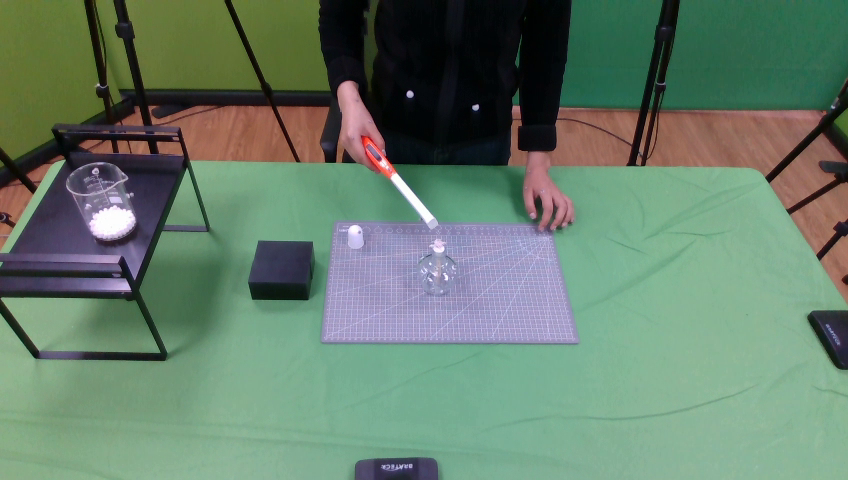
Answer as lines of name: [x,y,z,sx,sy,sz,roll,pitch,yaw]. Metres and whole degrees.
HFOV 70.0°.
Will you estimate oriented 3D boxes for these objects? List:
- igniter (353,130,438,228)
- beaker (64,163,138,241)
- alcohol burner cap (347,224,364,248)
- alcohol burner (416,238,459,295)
igniter: [-0.059,-0.120,1.119,0.025,0.057,0.275,-37,59,-3]
beaker: [-0.477,-0.055,0.910,0.084,0.101,0.073,-9,48,-13]
alcohol burner cap: [-0.134,-0.011,1.177,0.034,0.048,0.033,2,47,-2]
alcohol burner: [0.025,0.042,1.088,0.078,0.120,0.077,1,46,0]
